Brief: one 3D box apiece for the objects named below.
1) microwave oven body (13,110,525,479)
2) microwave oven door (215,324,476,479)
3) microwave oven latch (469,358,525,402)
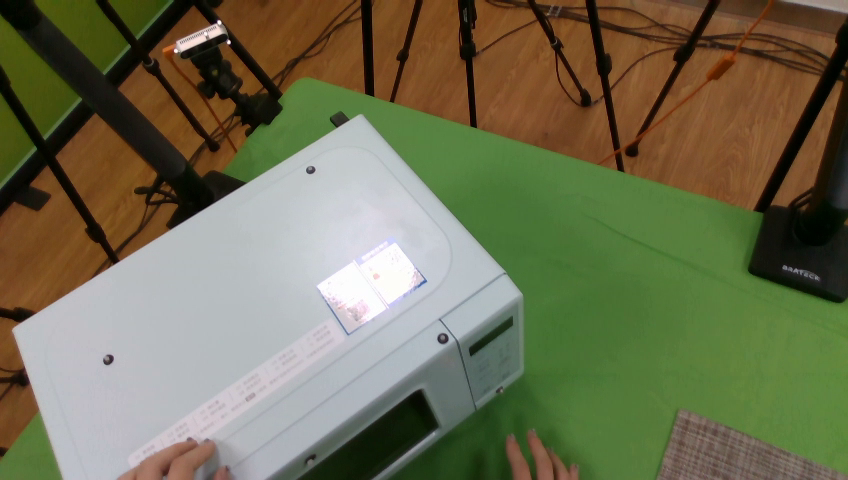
[{"bbox_3d":[-0.153,0.118,0.706,0.441,0.262,0.323,-35,61,-10],"label":"microwave oven body"},{"bbox_3d":[-0.106,0.236,0.625,0.356,0.246,0.039,-34,60,-11],"label":"microwave oven door"},{"bbox_3d":[0.089,0.166,0.752,0.079,0.030,0.030,-33,61,-9],"label":"microwave oven latch"}]
